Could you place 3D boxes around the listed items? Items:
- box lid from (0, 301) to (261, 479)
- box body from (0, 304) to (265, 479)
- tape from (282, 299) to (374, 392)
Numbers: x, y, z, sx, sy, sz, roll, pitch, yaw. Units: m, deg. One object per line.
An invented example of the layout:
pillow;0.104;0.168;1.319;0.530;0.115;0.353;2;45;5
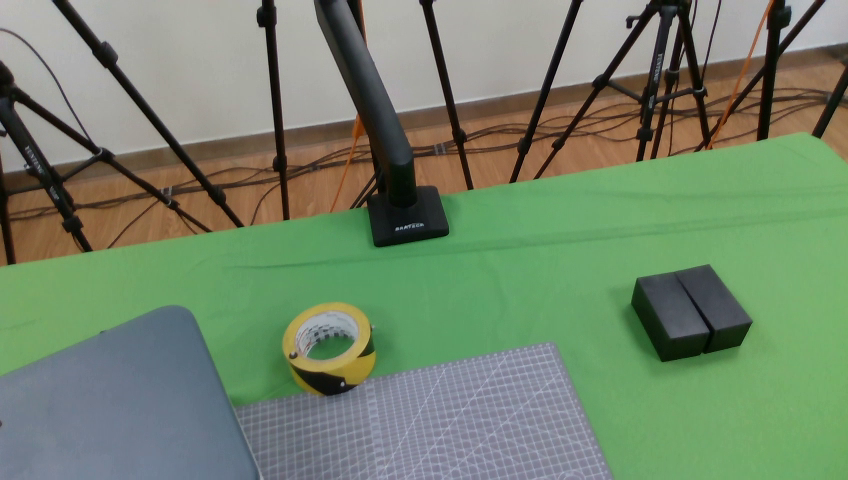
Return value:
box lid;-0.351;0.210;0.534;0.372;0.015;0.260;-25;49;-19
box body;-0.348;0.263;0.587;0.364;0.162;0.251;-25;49;-19
tape;-0.123;0.133;0.775;0.117;0.053;0.115;-2;43;3
